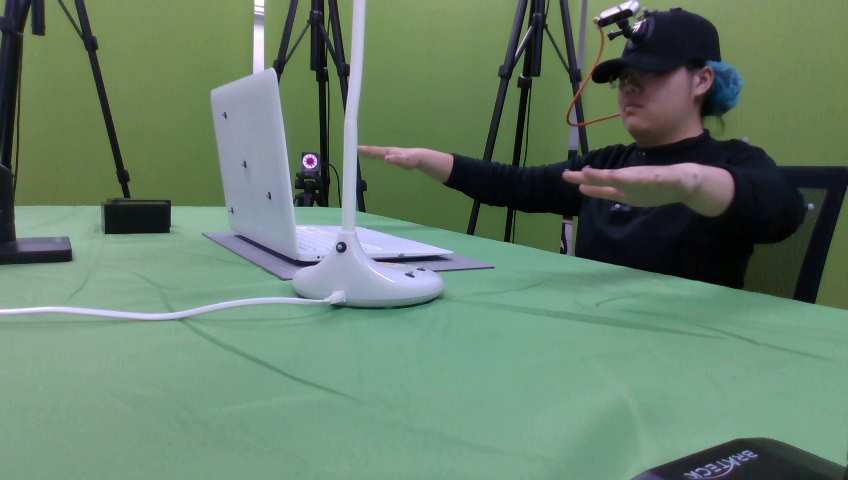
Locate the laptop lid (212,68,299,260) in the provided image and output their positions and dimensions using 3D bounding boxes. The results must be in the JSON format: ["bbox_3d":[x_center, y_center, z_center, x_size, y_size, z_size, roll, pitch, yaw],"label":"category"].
[{"bbox_3d":[-0.254,-0.111,0.872,0.013,0.241,0.355,-11,14,-30],"label":"laptop lid"}]

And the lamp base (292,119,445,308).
[{"bbox_3d":[-0.056,-0.030,0.616,0.160,0.180,0.179,3,10,8],"label":"lamp base"}]

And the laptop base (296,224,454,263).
[{"bbox_3d":[-0.143,0.003,0.957,0.237,0.023,0.352,2,6,-32],"label":"laptop base"}]
